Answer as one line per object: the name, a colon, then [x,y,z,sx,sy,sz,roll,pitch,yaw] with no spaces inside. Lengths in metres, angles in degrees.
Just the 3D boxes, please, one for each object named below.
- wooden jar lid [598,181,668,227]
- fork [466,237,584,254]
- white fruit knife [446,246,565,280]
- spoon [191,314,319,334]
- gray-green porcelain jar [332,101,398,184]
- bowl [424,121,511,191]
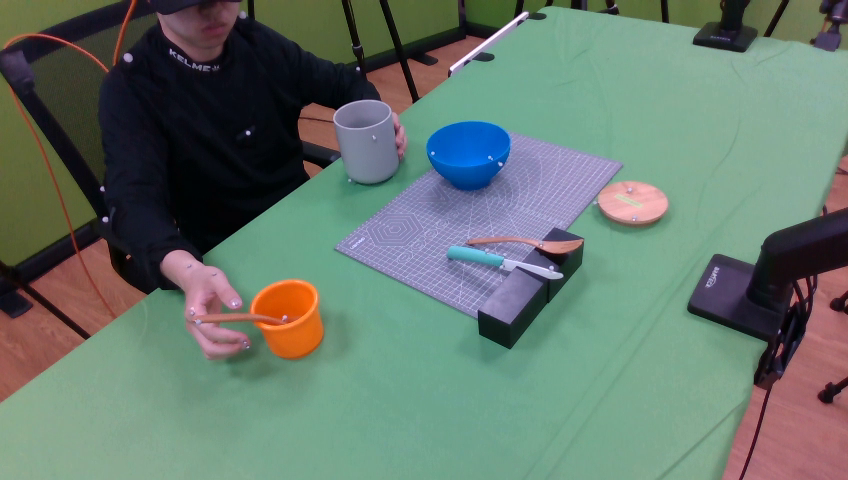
wooden jar lid: [0.340,-0.058,0.988,0.108,0.021,0.108,-5,41,5]
fork: [0.142,0.005,0.894,0.205,0.019,0.028,4,43,41]
white fruit knife: [0.111,0.033,0.868,0.205,0.027,0.016,11,44,40]
spoon: [-0.213,0.105,0.781,0.041,0.195,0.021,29,97,37]
gray-green porcelain jar: [-0.105,-0.174,1.108,0.106,0.127,0.105,-4,40,4]
bowl: [0.080,-0.141,1.074,0.151,0.077,0.150,-4,40,4]
